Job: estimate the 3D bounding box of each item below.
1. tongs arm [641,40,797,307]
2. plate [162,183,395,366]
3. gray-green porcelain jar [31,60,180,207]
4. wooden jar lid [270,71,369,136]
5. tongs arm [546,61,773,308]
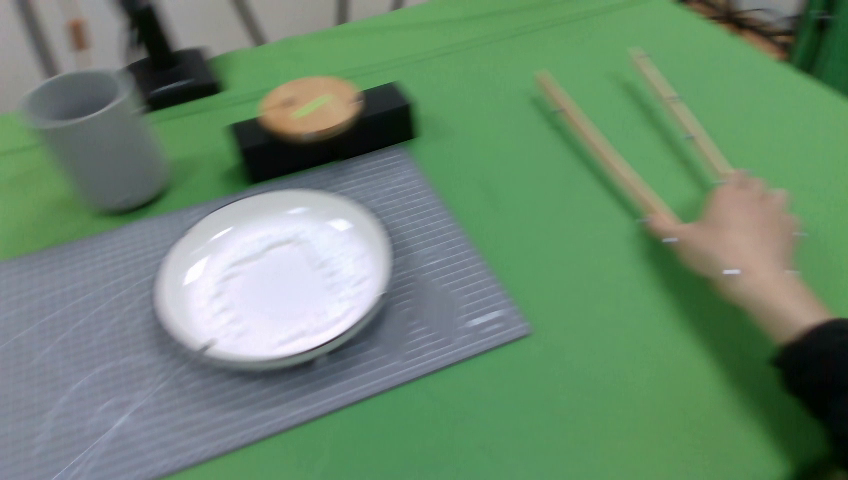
[{"bbox_3d":[0.285,-0.095,0.637,0.051,0.027,0.380,-10,50,-3],"label":"tongs arm"},{"bbox_3d":[-0.129,0.029,0.557,0.209,0.038,0.207,-2,47,3],"label":"plate"},{"bbox_3d":[-0.327,-0.107,0.641,0.106,0.128,0.105,-2,47,3],"label":"gray-green porcelain jar"},{"bbox_3d":[-0.114,-0.151,0.670,0.108,0.021,0.107,-1,48,2],"label":"wooden jar lid"},{"bbox_3d":[0.218,-0.079,0.633,0.028,0.028,0.383,-15,50,-12],"label":"tongs arm"}]
